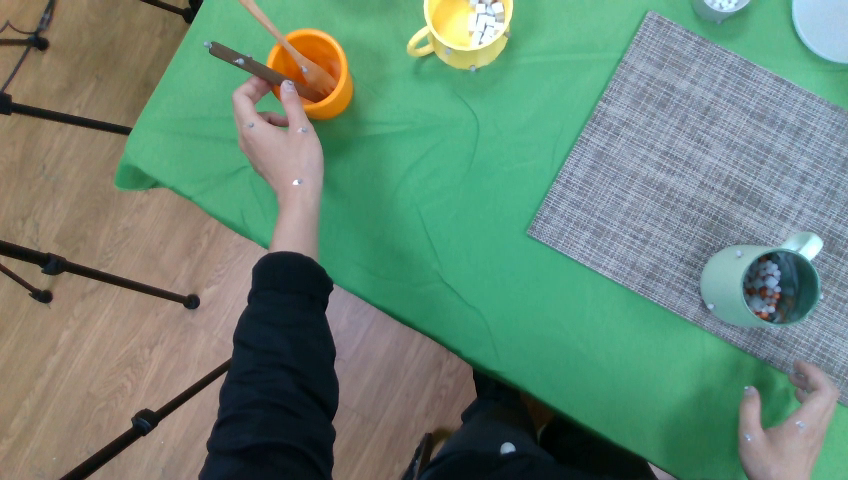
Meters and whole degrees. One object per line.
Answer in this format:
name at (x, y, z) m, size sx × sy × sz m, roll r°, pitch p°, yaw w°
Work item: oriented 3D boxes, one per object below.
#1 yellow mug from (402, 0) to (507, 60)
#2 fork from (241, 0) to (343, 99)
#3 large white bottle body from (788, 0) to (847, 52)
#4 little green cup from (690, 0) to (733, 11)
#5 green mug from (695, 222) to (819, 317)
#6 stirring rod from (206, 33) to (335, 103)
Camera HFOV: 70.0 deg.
yellow mug at (0.032, -0.261, 0.702) m, size 0.131 × 0.064 × 0.100 m, roll -29°, pitch 87°, yaw 4°
fork at (-0.163, -0.231, 0.672) m, size 0.028 × 0.018 × 0.209 m, roll -39°, pitch 130°, yaw 8°
large white bottle body at (0.479, -0.284, 0.615) m, size 0.130 × 0.185 × 0.130 m, roll 0°, pitch 88°, yaw 5°
little green cup at (0.336, -0.296, 0.697) m, size 0.061 × 0.038 × 0.061 m, roll 0°, pitch 90°, yaw 4°
green mug at (0.365, 0.027, 0.652) m, size 0.125 × 0.105 × 0.092 m, roll -45°, pitch 85°, yaw 2°
stirring rod at (-0.160, -0.183, 0.659) m, size 0.006 × 0.177 × 0.014 m, roll 7°, pitch 86°, yaw 36°
